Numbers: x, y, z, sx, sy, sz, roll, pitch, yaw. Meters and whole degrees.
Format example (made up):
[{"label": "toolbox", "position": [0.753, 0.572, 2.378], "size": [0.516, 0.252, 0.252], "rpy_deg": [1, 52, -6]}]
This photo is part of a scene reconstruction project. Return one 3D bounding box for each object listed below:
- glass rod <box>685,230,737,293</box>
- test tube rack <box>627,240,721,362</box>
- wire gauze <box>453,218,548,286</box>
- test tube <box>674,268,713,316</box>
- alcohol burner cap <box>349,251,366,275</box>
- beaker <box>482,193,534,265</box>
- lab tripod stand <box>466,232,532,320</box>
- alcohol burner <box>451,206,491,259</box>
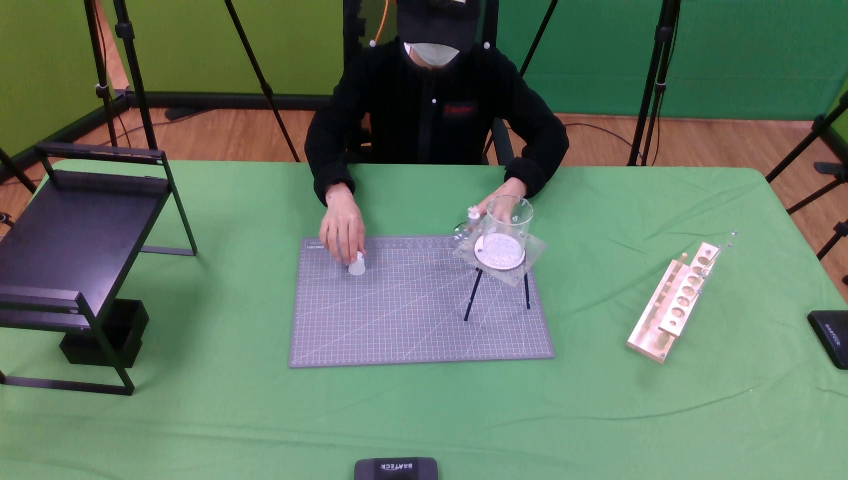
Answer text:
[{"label": "glass rod", "position": [0.494, 0.042, 1.051], "size": [0.008, 0.200, 0.008], "rpy_deg": [2, 55, -2]}, {"label": "test tube rack", "position": [0.452, 0.098, 1.087], "size": [0.066, 0.085, 0.242], "rpy_deg": [28, 51, 22]}, {"label": "wire gauze", "position": [0.129, 0.014, 1.018], "size": [0.124, 0.011, 0.121], "rpy_deg": [26, 47, 25]}, {"label": "test tube", "position": [0.445, 0.098, 1.017], "size": [0.017, 0.151, 0.017], "rpy_deg": [4, 49, -4]}, {"label": "alcohol burner cap", "position": [-0.125, 0.040, 1.131], "size": [0.034, 0.048, 0.033], "rpy_deg": [2, 47, -2]}, {"label": "beaker", "position": [0.135, -0.016, 0.979], "size": [0.073, 0.101, 0.084], "rpy_deg": [35, 52, 28]}, {"label": "lab tripod stand", "position": [0.125, 0.059, 1.065], "size": [0.148, 0.132, 0.147], "rpy_deg": [1, 45, 0]}, {"label": "alcohol burner", "position": [0.091, -0.020, 1.153], "size": [0.078, 0.120, 0.077], "rpy_deg": [0, 48, 0]}]
